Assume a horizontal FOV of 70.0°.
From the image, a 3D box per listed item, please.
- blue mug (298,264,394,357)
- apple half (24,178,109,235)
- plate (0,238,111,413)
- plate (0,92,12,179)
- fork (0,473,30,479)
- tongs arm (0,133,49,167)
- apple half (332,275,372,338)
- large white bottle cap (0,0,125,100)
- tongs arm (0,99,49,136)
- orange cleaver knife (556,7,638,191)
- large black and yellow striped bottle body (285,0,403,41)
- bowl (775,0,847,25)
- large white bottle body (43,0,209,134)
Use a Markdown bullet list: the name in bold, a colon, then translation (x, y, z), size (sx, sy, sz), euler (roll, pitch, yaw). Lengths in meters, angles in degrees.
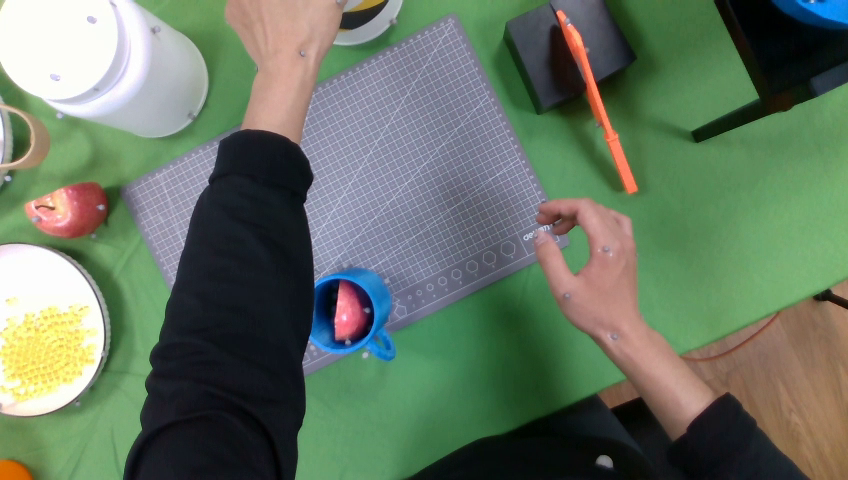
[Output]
- **blue mug**: translation (-0.073, 0.082, 0.667), size (0.082, 0.106, 0.116), euler (-42, 90, 4)
- **apple half**: translation (-0.404, -0.033, 0.698), size (0.081, 0.074, 0.053), euler (-22, 94, 0)
- **plate**: translation (-0.472, 0.100, 0.725), size (0.209, 0.038, 0.209), euler (0, 93, 3)
- **plate**: translation (-0.586, -0.127, 0.721), size (0.207, 0.039, 0.207), euler (0, 93, 3)
- **fork**: translation (-0.567, 0.309, 0.683), size (0.208, 0.018, 0.028), euler (-10, 91, -40)
- **tongs arm**: translation (-0.619, -0.102, 0.692), size (0.384, 0.026, 0.050), euler (3, 90, 5)
- **apple half**: translation (-0.073, 0.072, 0.662), size (0.032, 0.081, 0.081), euler (6, 92, 11)
- **large white bottle cap**: translation (-0.329, -0.186, 0.547), size (0.115, 0.018, 0.115), euler (0, 93, 4)
- **tongs arm**: translation (-0.608, -0.184, 0.689), size (0.387, 0.028, 0.028), euler (17, 87, 4)
- **orange cleaver knife**: translation (0.188, -0.149, 0.657), size (0.012, 0.076, 0.213), euler (-25, 117, 12)
- **large black and yellow striped bottle body**: translation (-0.095, -0.287, 0.603), size (0.130, 0.184, 0.131), euler (0, 93, 7)
- **bowl**: translation (0.318, -0.234, 0.469), size (0.151, 0.077, 0.151), euler (0, 92, 4)
- **large white bottle body**: translation (-0.322, -0.188, 0.631), size (0.130, 0.184, 0.130), euler (0, 91, 4)
